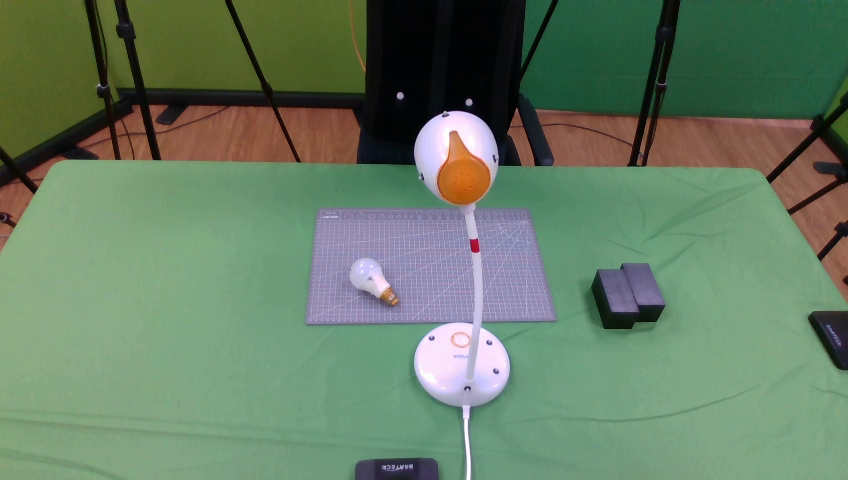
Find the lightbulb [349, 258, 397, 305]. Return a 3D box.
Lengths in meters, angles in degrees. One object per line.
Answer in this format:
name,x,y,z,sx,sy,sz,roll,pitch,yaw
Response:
lightbulb,-0.090,0.078,1.095,0.107,0.060,0.059,43,56,12

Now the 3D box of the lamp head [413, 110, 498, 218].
lamp head,0.044,-0.090,0.758,0.112,0.113,0.122,-1,32,-4

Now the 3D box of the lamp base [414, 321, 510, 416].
lamp base,0.069,0.159,0.942,0.161,0.181,0.178,-4,49,-8
